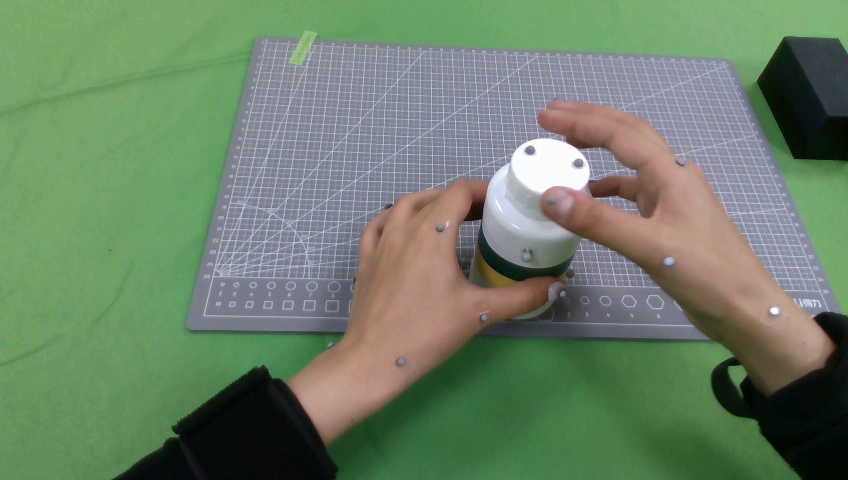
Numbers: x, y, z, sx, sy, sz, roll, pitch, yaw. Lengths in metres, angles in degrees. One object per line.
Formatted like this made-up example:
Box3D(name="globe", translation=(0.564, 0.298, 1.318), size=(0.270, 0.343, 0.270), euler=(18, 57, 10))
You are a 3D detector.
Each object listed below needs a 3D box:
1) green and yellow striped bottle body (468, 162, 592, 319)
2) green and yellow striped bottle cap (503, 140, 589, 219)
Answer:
Box3D(name="green and yellow striped bottle body", translation=(0.064, -0.005, 0.377), size=(0.063, 0.120, 0.062), euler=(2, 55, -2))
Box3D(name="green and yellow striped bottle cap", translation=(0.067, -0.034, 0.333), size=(0.045, 0.020, 0.045), euler=(2, 53, -2))
